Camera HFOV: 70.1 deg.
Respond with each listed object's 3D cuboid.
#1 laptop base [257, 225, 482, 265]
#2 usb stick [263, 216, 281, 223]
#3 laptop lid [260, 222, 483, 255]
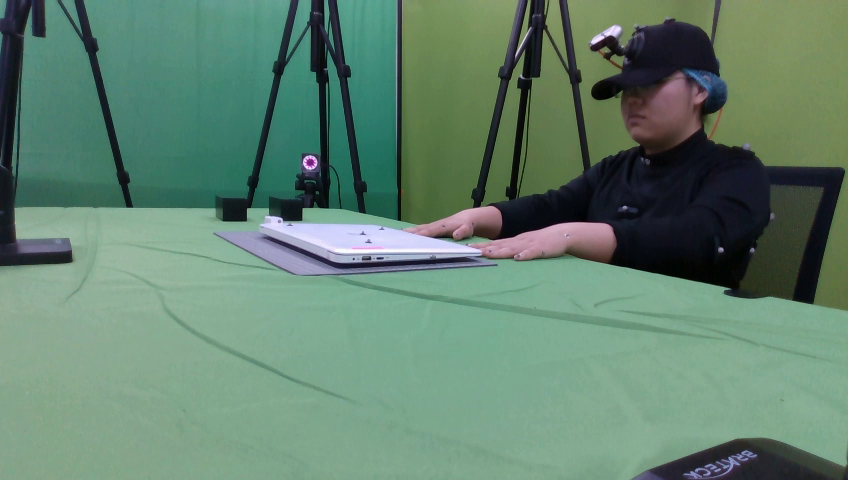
[{"bbox_3d":[-0.102,0.006,0.962,0.237,0.023,0.352,2,6,-32],"label":"laptop base"},{"bbox_3d":[-0.269,-0.028,1.081,0.021,0.027,0.059,-2,11,-30],"label":"usb stick"},{"bbox_3d":[-0.099,-0.005,0.962,0.243,0.013,0.355,1,7,-30],"label":"laptop lid"}]
